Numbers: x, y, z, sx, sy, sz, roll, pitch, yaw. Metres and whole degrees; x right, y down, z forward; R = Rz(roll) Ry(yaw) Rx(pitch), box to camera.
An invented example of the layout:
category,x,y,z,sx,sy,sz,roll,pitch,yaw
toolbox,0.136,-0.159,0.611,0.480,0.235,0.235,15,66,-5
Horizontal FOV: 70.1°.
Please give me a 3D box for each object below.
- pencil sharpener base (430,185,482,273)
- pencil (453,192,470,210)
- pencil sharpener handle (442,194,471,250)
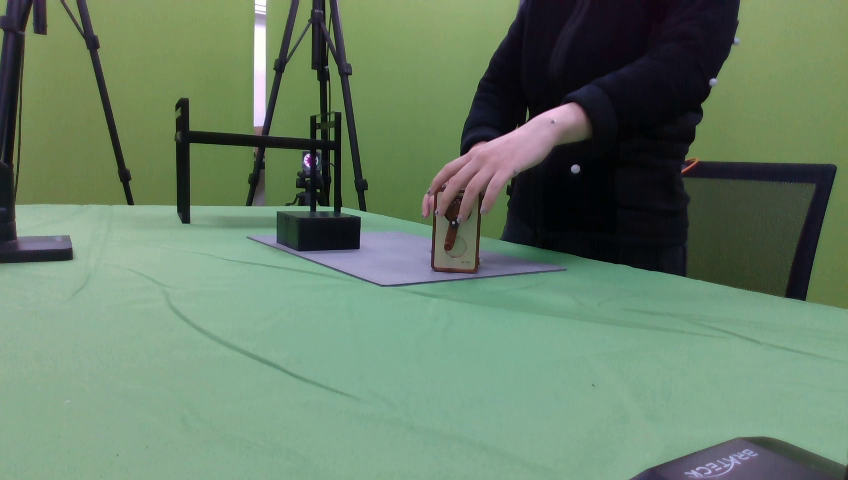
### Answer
category,x,y,z,sx,sy,sz,roll,pitch,yaw
pencil sharpener base,0.042,-0.016,0.783,0.061,0.107,0.077,3,8,4
pencil,0.054,-0.056,0.874,0.012,0.012,0.194,3,10,8
pencil sharpener handle,0.036,-0.021,0.731,0.036,0.067,0.030,10,9,3
